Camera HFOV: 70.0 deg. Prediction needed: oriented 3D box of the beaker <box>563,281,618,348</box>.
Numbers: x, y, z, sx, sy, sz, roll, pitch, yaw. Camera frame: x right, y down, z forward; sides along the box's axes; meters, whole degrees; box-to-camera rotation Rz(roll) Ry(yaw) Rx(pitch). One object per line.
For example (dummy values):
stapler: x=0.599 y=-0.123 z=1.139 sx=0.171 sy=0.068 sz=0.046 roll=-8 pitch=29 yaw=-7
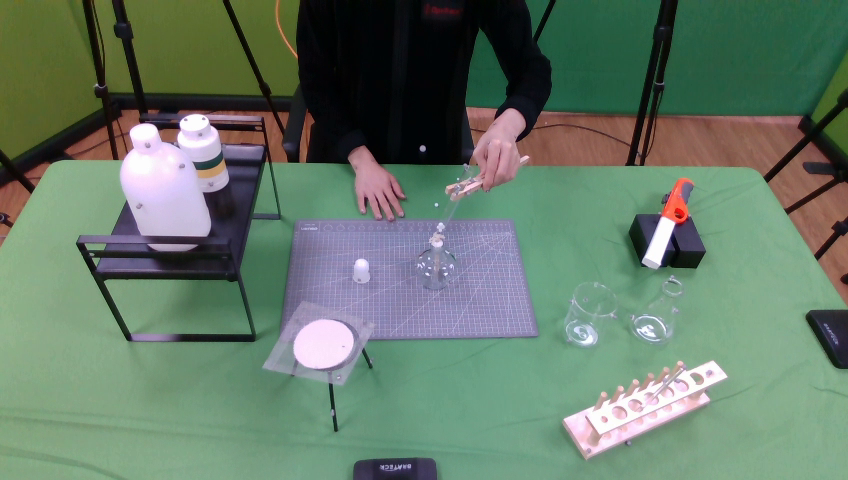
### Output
beaker: x=0.283 y=0.129 z=1.041 sx=0.074 sy=0.101 sz=0.083 roll=11 pitch=46 yaw=7

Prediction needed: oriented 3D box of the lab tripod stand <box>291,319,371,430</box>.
lab tripod stand: x=-0.146 y=0.193 z=0.923 sx=0.148 sy=0.132 sz=0.147 roll=1 pitch=47 yaw=-1

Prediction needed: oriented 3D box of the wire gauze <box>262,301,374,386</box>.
wire gauze: x=-0.150 y=0.148 z=0.873 sx=0.121 sy=0.011 sz=0.124 roll=14 pitch=46 yaw=12

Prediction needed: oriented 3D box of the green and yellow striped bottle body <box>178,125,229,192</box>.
green and yellow striped bottle body: x=-0.361 y=-0.142 z=0.989 sx=0.063 sy=0.120 sz=0.063 roll=2 pitch=46 yaw=-2

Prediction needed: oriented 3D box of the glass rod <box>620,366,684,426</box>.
glass rod: x=0.322 y=0.227 z=0.866 sx=0.008 sy=0.200 sz=0.008 roll=6 pitch=51 yaw=-7

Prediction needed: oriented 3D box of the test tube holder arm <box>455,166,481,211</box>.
test tube holder arm: x=0.073 y=-0.083 z=0.991 sx=0.015 sy=0.088 sz=0.010 roll=-21 pitch=39 yaw=9

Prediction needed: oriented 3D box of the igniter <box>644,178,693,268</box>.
igniter: x=0.488 y=-0.042 z=1.204 sx=0.057 sy=0.025 sz=0.276 roll=30 pitch=51 yaw=10

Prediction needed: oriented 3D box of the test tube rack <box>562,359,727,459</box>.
test tube rack: x=0.341 y=0.247 z=0.940 sx=0.243 sy=0.085 sz=0.066 roll=-16 pitch=49 yaw=-18

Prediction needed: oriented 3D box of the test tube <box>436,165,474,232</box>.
test tube: x=0.048 y=-0.064 z=0.993 sx=0.017 sy=0.151 sz=0.017 roll=12 pitch=46 yaw=-13

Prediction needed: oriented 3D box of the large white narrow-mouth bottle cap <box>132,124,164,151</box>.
large white narrow-mouth bottle cap: x=-0.370 y=-0.138 z=0.812 sx=0.038 sy=0.024 sz=0.037 roll=3 pitch=46 yaw=-3

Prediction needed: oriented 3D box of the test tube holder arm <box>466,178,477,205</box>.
test tube holder arm: x=0.077 y=-0.085 z=1.032 sx=0.015 sy=0.013 sz=0.178 roll=-26 pitch=15 yaw=8

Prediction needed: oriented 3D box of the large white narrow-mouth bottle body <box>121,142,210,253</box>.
large white narrow-mouth bottle body: x=-0.378 y=-0.077 z=0.875 sx=0.102 sy=0.195 sz=0.101 roll=3 pitch=46 yaw=-3

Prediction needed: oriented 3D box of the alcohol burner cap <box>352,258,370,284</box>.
alcohol burner cap: x=-0.117 y=0.055 z=1.118 sx=0.034 sy=0.048 sz=0.033 roll=1 pitch=46 yaw=-1

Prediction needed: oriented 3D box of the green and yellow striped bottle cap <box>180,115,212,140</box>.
green and yellow striped bottle cap: x=-0.358 y=-0.177 z=0.951 sx=0.045 sy=0.020 sz=0.045 roll=2 pitch=44 yaw=-1

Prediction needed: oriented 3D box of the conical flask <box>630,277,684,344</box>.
conical flask: x=0.408 y=0.117 z=1.045 sx=0.075 sy=0.122 sz=0.075 roll=2 pitch=46 yaw=-2

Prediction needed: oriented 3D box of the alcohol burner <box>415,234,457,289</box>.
alcohol burner: x=0.022 y=0.033 z=1.100 sx=0.078 sy=0.120 sz=0.077 roll=1 pitch=47 yaw=-1
